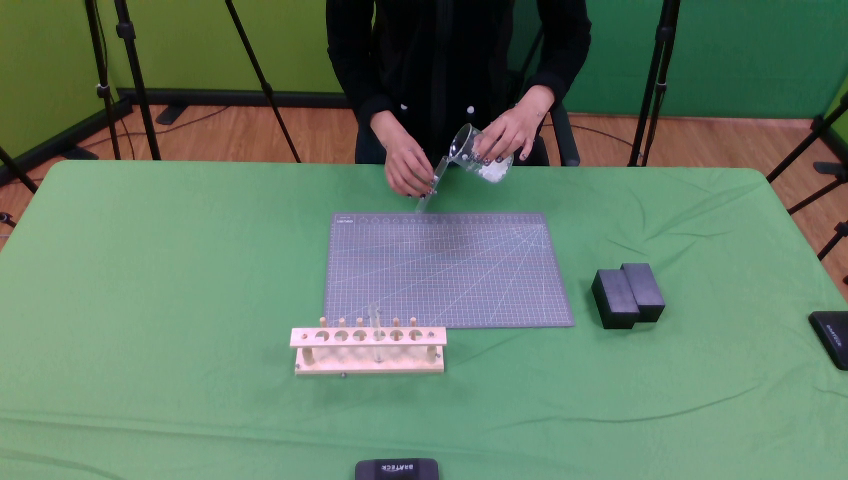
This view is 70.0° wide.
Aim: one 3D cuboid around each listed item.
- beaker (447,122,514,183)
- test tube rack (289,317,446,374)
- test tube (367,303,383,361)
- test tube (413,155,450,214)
[{"bbox_3d":[0.101,-0.151,1.082,0.100,0.084,0.073,28,48,-18],"label":"beaker"},{"bbox_3d":[-0.089,0.167,0.987,0.242,0.085,0.066,0,46,-4],"label":"test tube rack"},{"bbox_3d":[-0.075,0.146,0.941,0.017,0.151,0.017,0,49,0],"label":"test tube"},{"bbox_3d":[0.012,-0.101,1.144,0.017,0.151,0.017,16,43,-16],"label":"test tube"}]
